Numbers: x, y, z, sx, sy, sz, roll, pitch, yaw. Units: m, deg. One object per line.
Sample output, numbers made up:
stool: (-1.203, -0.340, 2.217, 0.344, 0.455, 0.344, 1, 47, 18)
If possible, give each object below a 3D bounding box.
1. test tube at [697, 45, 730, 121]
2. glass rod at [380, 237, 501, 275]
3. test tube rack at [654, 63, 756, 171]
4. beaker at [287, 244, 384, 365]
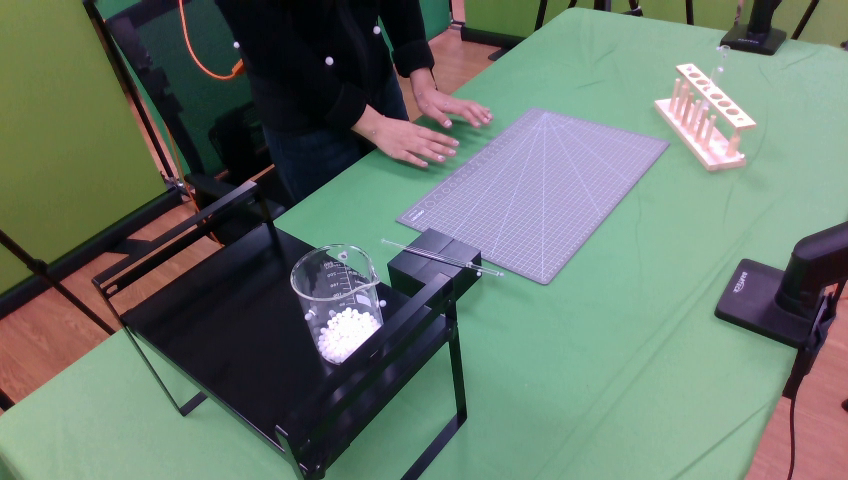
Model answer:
test tube: (0.523, -0.280, 1.096, 0.017, 0.151, 0.017, 0, 44, 1)
glass rod: (0.019, 0.023, 0.881, 0.198, 0.008, 0.008, 16, 46, 25)
test tube rack: (0.510, -0.233, 1.120, 0.067, 0.085, 0.241, -8, 41, -1)
beaker: (-0.076, 0.064, 0.575, 0.083, 0.101, 0.074, 6, 43, 15)
